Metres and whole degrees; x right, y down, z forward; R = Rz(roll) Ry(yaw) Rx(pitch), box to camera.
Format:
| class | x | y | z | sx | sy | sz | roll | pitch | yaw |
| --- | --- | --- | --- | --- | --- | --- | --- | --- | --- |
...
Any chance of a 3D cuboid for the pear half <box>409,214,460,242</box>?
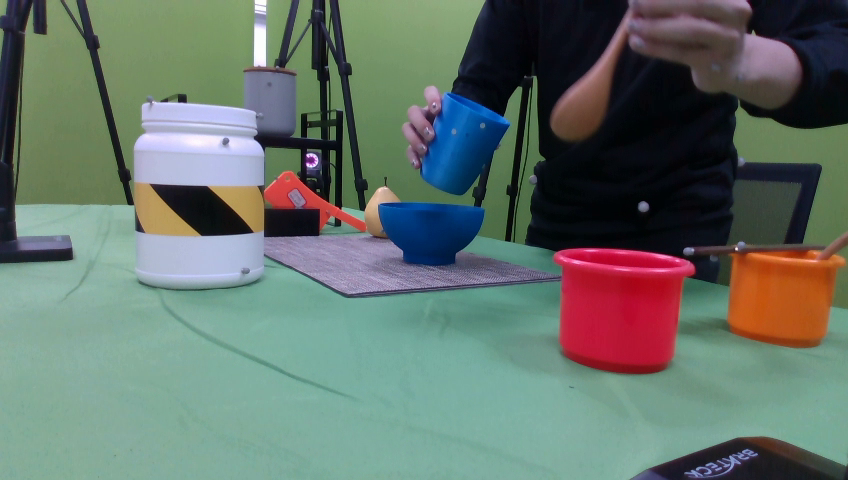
| class | x | y | z | sx | sy | sz | roll | pitch | yaw |
| --- | --- | --- | --- | --- | --- | --- | --- | --- | --- |
| pear half | 0.012 | -0.020 | 0.848 | 0.070 | 0.031 | 0.088 | 3 | 12 | 33 |

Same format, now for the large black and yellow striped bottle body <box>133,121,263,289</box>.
| class | x | y | z | sx | sy | sz | roll | pitch | yaw |
| --- | --- | --- | --- | --- | --- | --- | --- | --- | --- |
| large black and yellow striped bottle body | -0.243 | -0.048 | 0.659 | 0.131 | 0.184 | 0.130 | 2 | 7 | 0 |

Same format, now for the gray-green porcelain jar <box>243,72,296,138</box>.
| class | x | y | z | sx | sy | sz | roll | pitch | yaw |
| --- | --- | --- | --- | --- | --- | --- | --- | --- | --- |
| gray-green porcelain jar | -0.322 | -0.279 | 1.263 | 0.106 | 0.126 | 0.106 | 3 | 8 | 0 |

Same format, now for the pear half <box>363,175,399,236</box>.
| class | x | y | z | sx | sy | sz | roll | pitch | yaw |
| --- | --- | --- | --- | --- | --- | --- | --- | --- | --- |
| pear half | -0.064 | -0.061 | 1.077 | 0.055 | 0.110 | 0.077 | 9 | 13 | 39 |

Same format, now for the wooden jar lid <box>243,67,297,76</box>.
| class | x | y | z | sx | sy | sz | roll | pitch | yaw |
| --- | --- | --- | --- | --- | --- | --- | --- | --- | --- |
| wooden jar lid | -0.319 | -0.342 | 1.254 | 0.108 | 0.020 | 0.108 | 3 | 8 | 0 |

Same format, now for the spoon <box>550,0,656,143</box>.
| class | x | y | z | sx | sy | sz | roll | pitch | yaw |
| --- | --- | --- | --- | --- | --- | --- | --- | --- | --- |
| spoon | 0.161 | -0.161 | 0.488 | 0.042 | 0.193 | 0.021 | 23 | 25 | -11 |

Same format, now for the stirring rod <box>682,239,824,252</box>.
| class | x | y | z | sx | sy | sz | roll | pitch | yaw |
| --- | --- | --- | --- | --- | --- | --- | --- | --- | --- |
| stirring rod | 0.289 | 0.004 | 0.525 | 0.177 | 0.006 | 0.014 | -1 | 8 | -26 |

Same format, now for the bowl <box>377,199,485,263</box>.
| class | x | y | z | sx | sy | sz | roll | pitch | yaw |
| --- | --- | --- | --- | --- | --- | --- | --- | --- | --- |
| bowl | 0.008 | -0.013 | 0.842 | 0.151 | 0.077 | 0.151 | 2 | 8 | 0 |

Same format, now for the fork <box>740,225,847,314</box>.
| class | x | y | z | sx | sy | sz | roll | pitch | yaw |
| --- | --- | --- | --- | --- | --- | --- | --- | --- | --- |
| fork | 0.323 | 0.013 | 0.485 | 0.028 | 0.018 | 0.207 | 9 | -38 | -5 |

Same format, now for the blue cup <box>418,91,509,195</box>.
| class | x | y | z | sx | sy | sz | roll | pitch | yaw |
| --- | --- | --- | --- | --- | --- | --- | --- | --- | --- |
| blue cup | 0.039 | -0.110 | 0.708 | 0.093 | 0.100 | 0.092 | 22 | 19 | -8 |

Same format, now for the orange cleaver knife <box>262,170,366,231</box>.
| class | x | y | z | sx | sy | sz | roll | pitch | yaw |
| --- | --- | --- | --- | --- | --- | --- | --- | --- | --- |
| orange cleaver knife | -0.201 | -0.057 | 1.136 | 0.212 | 0.077 | 0.012 | 31 | -3 | -31 |

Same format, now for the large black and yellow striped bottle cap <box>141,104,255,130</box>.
| class | x | y | z | sx | sy | sz | roll | pitch | yaw |
| --- | --- | --- | --- | --- | --- | --- | --- | --- | --- |
| large black and yellow striped bottle cap | -0.241 | -0.131 | 0.650 | 0.115 | 0.019 | 0.115 | 4 | 8 | 0 |
